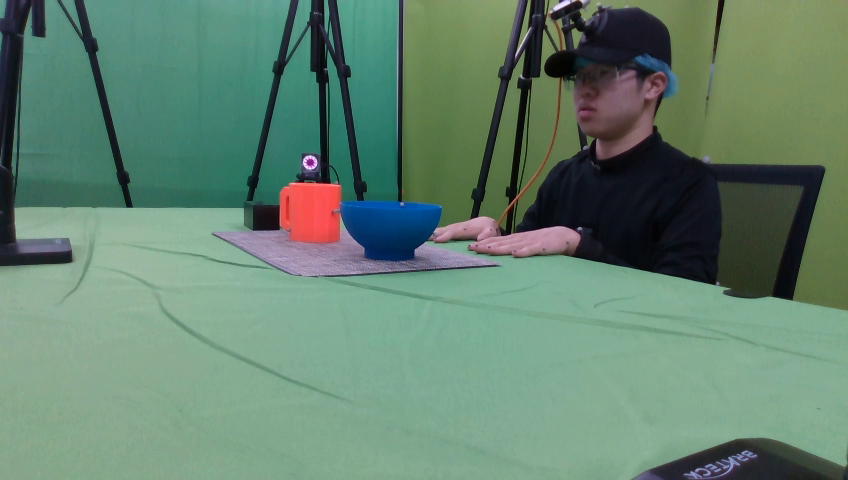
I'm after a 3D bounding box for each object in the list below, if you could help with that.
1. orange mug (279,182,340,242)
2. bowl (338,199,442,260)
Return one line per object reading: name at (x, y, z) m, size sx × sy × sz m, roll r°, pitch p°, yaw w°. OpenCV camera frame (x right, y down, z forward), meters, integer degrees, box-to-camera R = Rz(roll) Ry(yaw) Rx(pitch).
orange mug at (-0.202, -0.052, 1.042) m, size 0.125 × 0.100 × 0.084 m, roll 12°, pitch 11°, yaw 34°
bowl at (-0.050, -0.015, 0.878) m, size 0.151 × 0.077 × 0.151 m, roll 2°, pitch 8°, yaw 0°
